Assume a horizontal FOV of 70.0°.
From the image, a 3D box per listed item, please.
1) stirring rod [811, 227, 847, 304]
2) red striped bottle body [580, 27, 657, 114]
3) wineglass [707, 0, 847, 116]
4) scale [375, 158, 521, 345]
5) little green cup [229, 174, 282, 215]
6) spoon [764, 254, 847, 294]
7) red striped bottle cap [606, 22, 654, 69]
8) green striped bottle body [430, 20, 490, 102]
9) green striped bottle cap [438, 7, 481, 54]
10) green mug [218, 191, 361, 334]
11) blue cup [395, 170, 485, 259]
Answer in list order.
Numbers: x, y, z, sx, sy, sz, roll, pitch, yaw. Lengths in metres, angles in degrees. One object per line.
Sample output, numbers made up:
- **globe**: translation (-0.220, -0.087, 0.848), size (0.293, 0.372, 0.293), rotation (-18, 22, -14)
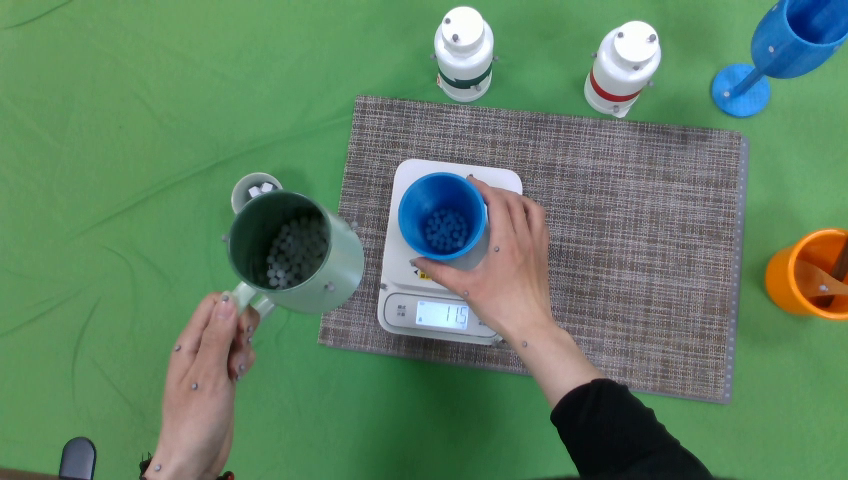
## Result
- **stirring rod**: translation (0.420, -0.001, 0.597), size (0.014, 0.178, 0.006), rotation (15, 43, 21)
- **red striped bottle body**: translation (0.209, -0.186, 0.654), size (0.063, 0.120, 0.063), rotation (-1, 82, 4)
- **wineglass**: translation (0.352, -0.187, 0.616), size (0.073, 0.173, 0.073), rotation (-1, 81, 5)
- **scale**: translation (0.027, 0.011, 0.682), size (0.148, 0.031, 0.200), rotation (6, 83, 6)
- **little green cup**: translation (-0.190, -0.043, 0.706), size (0.061, 0.039, 0.061), rotation (0, 82, 3)
- **spoon**: translation (0.432, 0.052, 0.589), size (0.022, 0.192, 0.041), rotation (20, 91, -36)
- **red striped bottle cap**: translation (0.204, -0.194, 0.601), size (0.044, 0.018, 0.044), rotation (-1, 79, 4)
- **green striped bottle body**: translation (0.041, -0.204, 0.670), size (0.063, 0.119, 0.063), rotation (-1, 82, 5)
- **green striped bottle cap**: translation (0.036, -0.213, 0.615), size (0.044, 0.020, 0.044), rotation (-1, 81, 5)
- **green mug**: translation (-0.114, 0.025, 0.489), size (0.092, 0.105, 0.125), rotation (39, 84, 10)
- **blue cup**: translation (0.019, -0.018, 0.620), size (0.092, 0.100, 0.092), rotation (0, 83, 4)
